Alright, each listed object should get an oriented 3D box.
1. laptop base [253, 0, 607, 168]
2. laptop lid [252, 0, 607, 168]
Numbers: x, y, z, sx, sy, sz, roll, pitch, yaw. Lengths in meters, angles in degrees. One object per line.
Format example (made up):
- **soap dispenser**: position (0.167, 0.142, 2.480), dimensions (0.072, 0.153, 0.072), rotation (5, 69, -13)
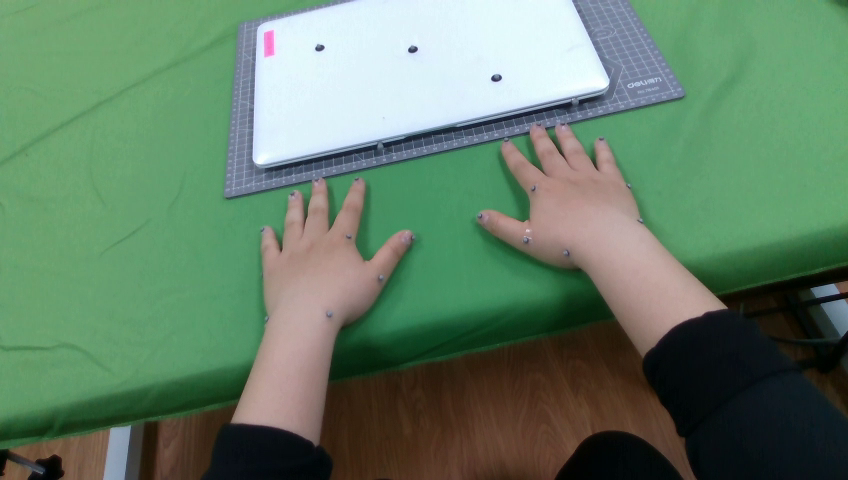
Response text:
- **laptop base**: position (-0.010, -0.193, 0.653), dimensions (0.354, 0.023, 0.233), rotation (-12, 56, 2)
- **laptop lid**: position (-0.011, -0.198, 0.642), dimensions (0.356, 0.013, 0.239), rotation (-11, 55, 4)
